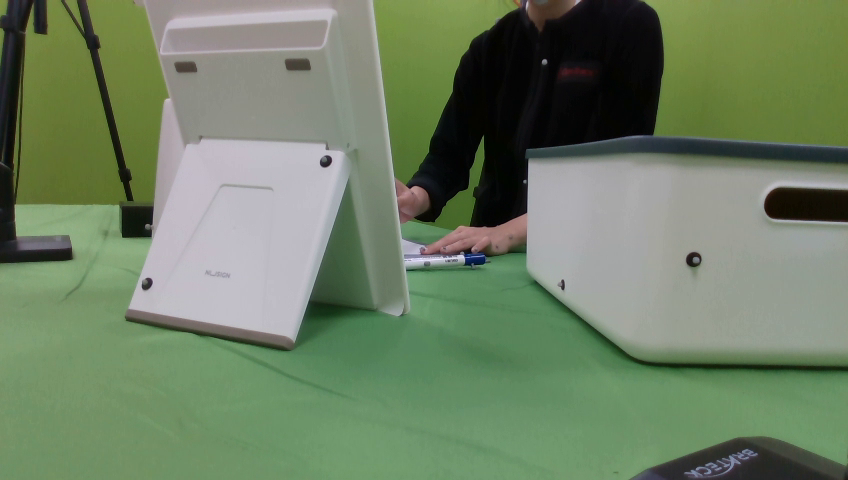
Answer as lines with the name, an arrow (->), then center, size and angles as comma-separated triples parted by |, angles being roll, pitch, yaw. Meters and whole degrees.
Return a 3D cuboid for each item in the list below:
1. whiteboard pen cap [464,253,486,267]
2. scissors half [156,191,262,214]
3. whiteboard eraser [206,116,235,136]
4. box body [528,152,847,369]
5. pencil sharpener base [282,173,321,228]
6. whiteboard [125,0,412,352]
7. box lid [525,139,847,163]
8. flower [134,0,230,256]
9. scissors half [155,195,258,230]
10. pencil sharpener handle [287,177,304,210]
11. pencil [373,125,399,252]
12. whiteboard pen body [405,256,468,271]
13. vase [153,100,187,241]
whiteboard pen cap -> 0.066, 0.027, 0.818 | 0.033, 0.018, 0.018 | -5, 10, -24
scissors half -> -0.371, -0.068, 1.051 | 0.176, 0.040, 0.013 | 2, 25, -24
whiteboard eraser -> -0.450, -0.252, 1.335 | 0.056, 0.042, 0.112 | 1, 7, -22
box body -> 0.258, -0.005, 0.591 | 0.254, 0.160, 0.363 | 2, 7, -4
pencil sharpener base -> -0.247, -0.080, 1.212 | 0.061, 0.107, 0.076 | -2, 5, -28
whiteboard -> -0.151, -0.049, 0.471 | 0.216, 0.305, 0.144 | 6, 27, 24
box lid -> 0.261, -0.078, 0.580 | 0.264, 0.015, 0.371 | 2, 7, -4
flower -> -0.282, -0.147, 0.713 | 0.038, 0.362, 0.044 | -23, 24, -31
scissors half -> -0.378, -0.051, 1.059 | 0.176, 0.040, 0.012 | 20, 22, -31
pencil sharpener handle -> -0.269, -0.096, 1.257 | 0.036, 0.067, 0.030 | -8, 8, -27
pencil -> -0.055, -0.077, 0.907 | 0.012, 0.194, 0.012 | -10, 0, 0
whiteboard pen body -> 0.013, 0.030, 0.792 | 0.141, 0.017, 0.017 | -3, 9, -24
vase -> -0.278, -0.066, 0.736 | 0.098, 0.200, 0.098 | 2, 9, 0
